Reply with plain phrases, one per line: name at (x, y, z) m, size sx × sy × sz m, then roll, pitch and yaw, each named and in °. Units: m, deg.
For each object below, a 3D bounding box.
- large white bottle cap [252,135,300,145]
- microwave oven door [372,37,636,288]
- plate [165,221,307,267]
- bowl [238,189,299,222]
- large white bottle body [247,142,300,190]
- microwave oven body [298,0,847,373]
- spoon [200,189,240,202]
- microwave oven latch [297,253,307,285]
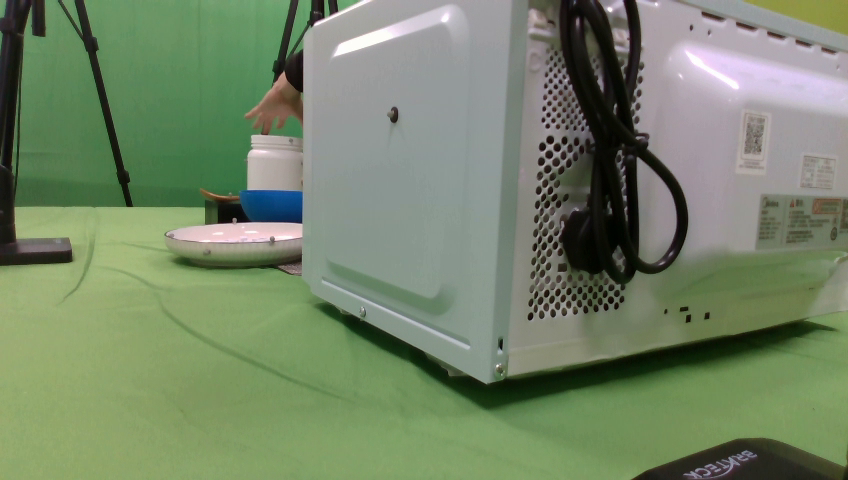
large white bottle cap at (-0.337, -0.229, 1.391) m, size 0.115 × 0.018 × 0.115 m, roll 3°, pitch 7°, yaw 0°
microwave oven door at (0.109, -0.080, 0.686) m, size 0.358 × 0.243 × 0.039 m, roll -2°, pitch 9°, yaw -33°
plate at (-0.241, 0.004, 0.829) m, size 0.209 × 0.038 × 0.209 m, roll 0°, pitch 9°, yaw 0°
bowl at (-0.245, -0.045, 1.052) m, size 0.151 × 0.077 × 0.151 m, roll 2°, pitch 7°, yaw 0°
large white bottle body at (-0.342, -0.144, 1.400) m, size 0.131 × 0.184 × 0.130 m, roll 2°, pitch 7°, yaw 0°
microwave oven body at (0.151, -0.055, 0.542) m, size 0.444 × 0.260 × 0.324 m, roll -2°, pitch 7°, yaw -33°
spoon at (-0.339, -0.080, 1.190) m, size 0.194 × 0.021 × 0.041 m, roll 5°, pitch 0°, yaw -19°
microwave oven latch at (-0.082, 0.027, 0.582) m, size 0.079 × 0.029 × 0.030 m, roll -1°, pitch 7°, yaw -32°
